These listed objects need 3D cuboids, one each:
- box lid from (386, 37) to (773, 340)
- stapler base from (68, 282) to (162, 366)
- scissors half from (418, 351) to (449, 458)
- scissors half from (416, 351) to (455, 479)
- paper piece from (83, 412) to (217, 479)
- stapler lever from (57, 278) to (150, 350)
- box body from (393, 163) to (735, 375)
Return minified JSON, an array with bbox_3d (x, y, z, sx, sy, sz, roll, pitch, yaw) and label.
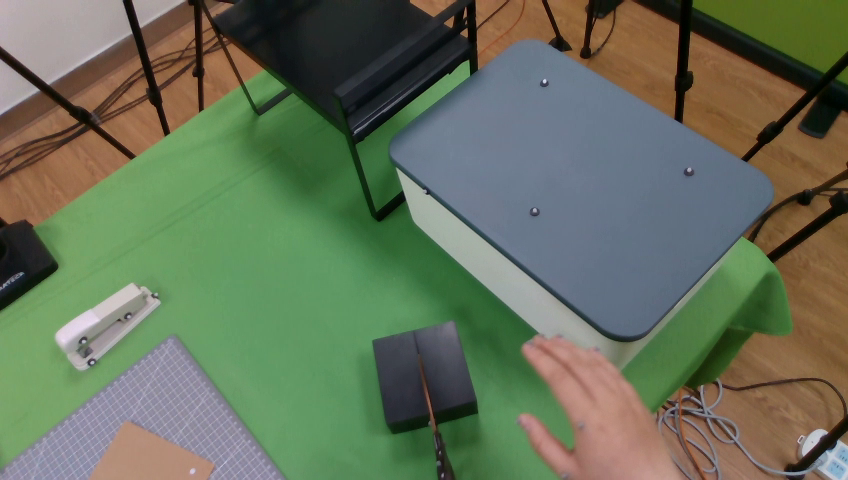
[{"bbox_3d":[0.159,-0.085,0.678,0.263,0.015,0.368,-40,63,-17],"label":"box lid"},{"bbox_3d":[-0.412,0.107,0.800,0.041,0.024,0.130,36,67,21],"label":"stapler base"},{"bbox_3d":[0.014,0.207,0.660,0.013,0.040,0.174,-13,78,-4],"label":"scissors half"},{"bbox_3d":[0.012,0.200,0.641,0.013,0.040,0.173,-16,62,1],"label":"scissors half"},{"bbox_3d":[-0.328,0.286,0.690,0.137,0.009,0.135,20,68,15],"label":"paper piece"},{"bbox_3d":[-0.414,0.093,0.780,0.026,0.040,0.118,36,69,22],"label":"stapler lever"},{"bbox_3d":[0.168,-0.045,0.741,0.254,0.162,0.361,-41,63,-16],"label":"box body"}]
